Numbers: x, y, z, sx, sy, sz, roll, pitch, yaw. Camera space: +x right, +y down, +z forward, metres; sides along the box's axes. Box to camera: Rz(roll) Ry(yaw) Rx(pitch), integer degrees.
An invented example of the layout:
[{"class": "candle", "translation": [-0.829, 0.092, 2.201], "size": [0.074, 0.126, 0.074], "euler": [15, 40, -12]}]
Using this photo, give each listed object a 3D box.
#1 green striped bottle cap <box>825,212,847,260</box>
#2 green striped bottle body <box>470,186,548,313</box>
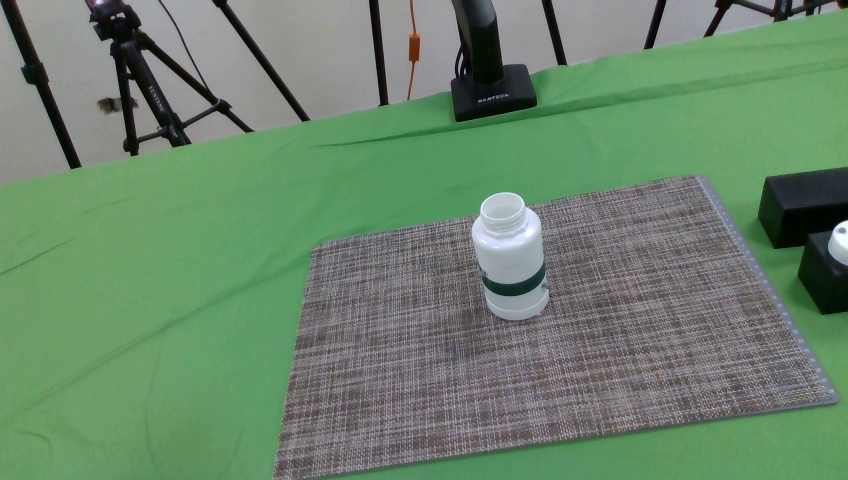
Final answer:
[{"class": "green striped bottle cap", "translation": [0.356, -0.003, 0.496], "size": [0.044, 0.020, 0.044], "euler": [-7, 42, 7]}, {"class": "green striped bottle body", "translation": [0.079, 0.008, 0.562], "size": [0.063, 0.120, 0.062], "euler": [-9, 42, 8]}]
